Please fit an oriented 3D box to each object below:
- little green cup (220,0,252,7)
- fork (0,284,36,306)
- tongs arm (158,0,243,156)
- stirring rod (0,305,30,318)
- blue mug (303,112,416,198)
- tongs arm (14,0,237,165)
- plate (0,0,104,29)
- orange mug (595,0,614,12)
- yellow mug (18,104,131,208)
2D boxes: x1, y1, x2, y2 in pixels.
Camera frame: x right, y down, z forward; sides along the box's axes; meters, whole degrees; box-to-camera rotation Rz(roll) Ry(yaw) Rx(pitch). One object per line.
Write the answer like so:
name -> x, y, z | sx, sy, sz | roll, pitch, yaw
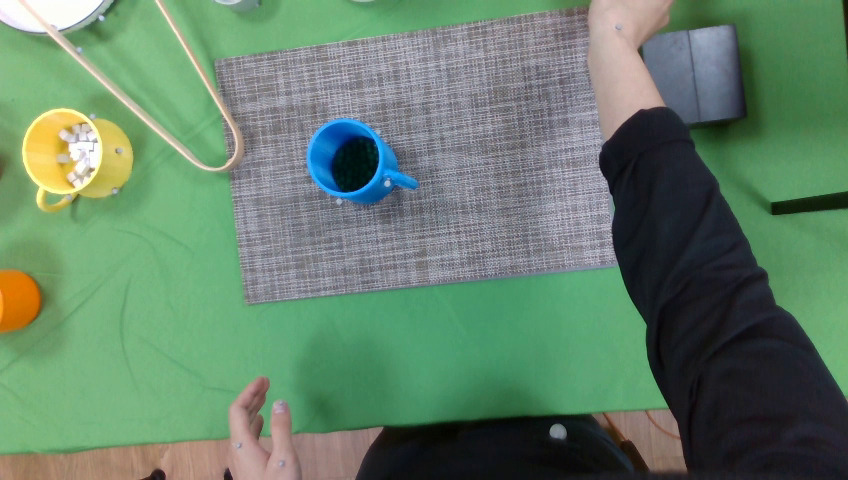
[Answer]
little green cup -> -0.229, -0.310, 0.720 | 0.061, 0.038, 0.061 | 0, 93, 4
fork -> -0.575, 0.063, 0.703 | 0.209, 0.018, 0.028 | 6, 91, -39
tongs arm -> -0.316, -0.274, 0.712 | 0.028, 0.027, 0.388 | -31, 96, -4
stirring rod -> -0.564, 0.080, 0.706 | 0.006, 0.177, 0.014 | -15, 72, 48
blue mug -> -0.064, -0.086, 0.676 | 0.116, 0.106, 0.082 | 19, 93, 4
tongs arm -> -0.381, -0.220, 0.716 | 0.385, 0.026, 0.051 | 45, 91, -5
plate -> -0.459, -0.359, 0.738 | 0.207, 0.039, 0.207 | 0, 92, 5
orange mug -> 0.219, -0.317, 0.653 | 0.083, 0.101, 0.126 | 20, 88, 5
yellow mug -> -0.426, -0.094, 0.729 | 0.100, 0.064, 0.131 | 32, 95, 3
